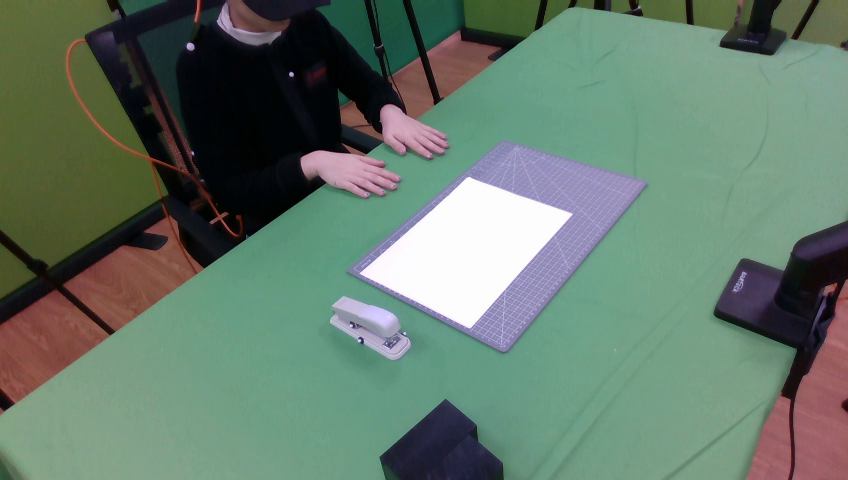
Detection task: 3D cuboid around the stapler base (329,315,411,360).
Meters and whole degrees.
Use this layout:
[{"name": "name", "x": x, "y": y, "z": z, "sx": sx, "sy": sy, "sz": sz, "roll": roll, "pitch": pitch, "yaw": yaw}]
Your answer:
[{"name": "stapler base", "x": -0.077, "y": 0.122, "z": 0.841, "sx": 0.129, "sy": 0.024, "sz": 0.041, "roll": 22, "pitch": 46, "yaw": 33}]

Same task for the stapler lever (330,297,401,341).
[{"name": "stapler lever", "x": -0.081, "y": 0.102, "z": 0.825, "sx": 0.117, "sy": 0.040, "sz": 0.027, "roll": 22, "pitch": 46, "yaw": 33}]
